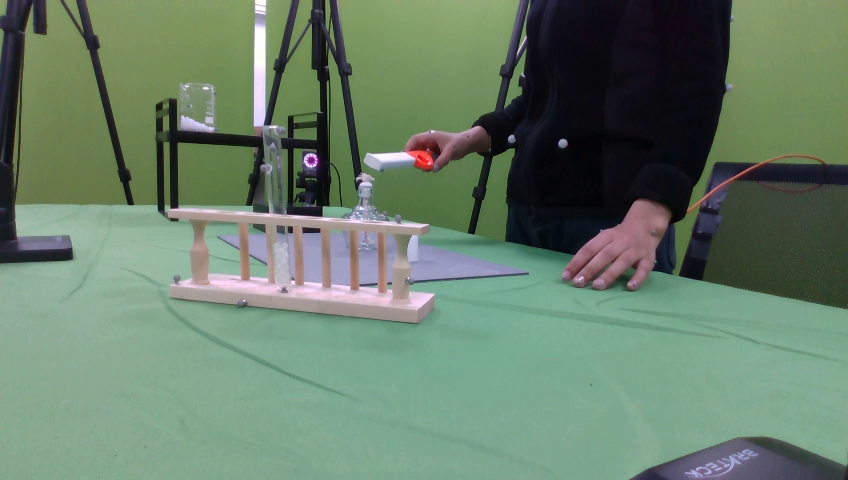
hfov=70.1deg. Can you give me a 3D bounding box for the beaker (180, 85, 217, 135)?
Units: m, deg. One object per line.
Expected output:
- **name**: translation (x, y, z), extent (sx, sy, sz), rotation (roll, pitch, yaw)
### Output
- **beaker**: translation (-0.478, -0.275, 1.279), extent (0.074, 0.100, 0.084), rotation (4, 8, 15)

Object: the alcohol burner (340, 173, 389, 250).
- **alcohol burner**: translation (-0.093, -0.045, 0.939), extent (0.078, 0.119, 0.078), rotation (0, 7, 0)

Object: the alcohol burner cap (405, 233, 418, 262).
- **alcohol burner cap**: translation (-0.024, 0.005, 0.847), extent (0.034, 0.048, 0.034), rotation (3, 9, 0)

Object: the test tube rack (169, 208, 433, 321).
- **test tube rack**: translation (-0.115, 0.018, 0.574), extent (0.242, 0.085, 0.067), rotation (4, 8, 13)

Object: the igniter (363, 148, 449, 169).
- **igniter**: translation (-0.024, -0.145, 1.072), extent (0.057, 0.025, 0.277), rotation (32, 21, 18)

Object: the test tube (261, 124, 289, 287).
- **test tube**: translation (-0.136, -0.030, 0.554), extent (0.017, 0.150, 0.017), rotation (-2, 10, 1)
